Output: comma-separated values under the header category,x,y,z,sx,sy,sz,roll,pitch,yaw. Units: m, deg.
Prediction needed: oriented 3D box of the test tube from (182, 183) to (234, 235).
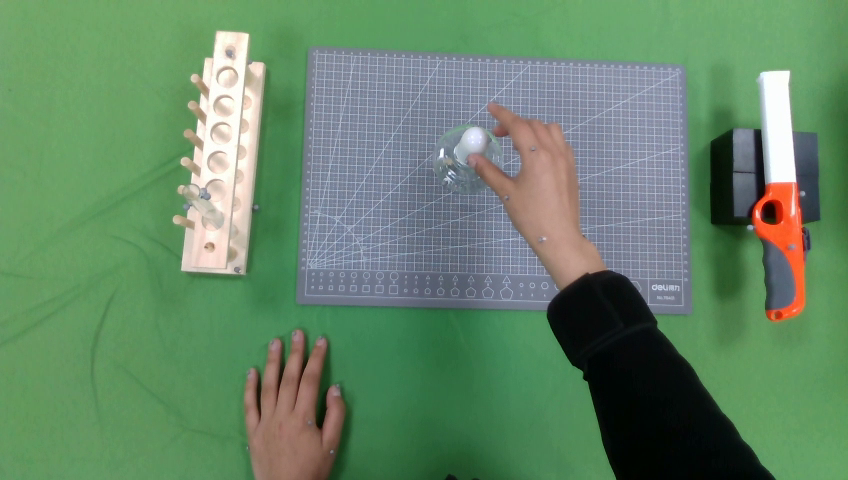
category,x,y,z,sx,sy,sz,roll,pitch,yaw
test tube,-0.207,-0.027,0.589,0.017,0.150,0.017,1,78,-6

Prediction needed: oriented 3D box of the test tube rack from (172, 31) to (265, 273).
category,x,y,z,sx,sy,sz,roll,pitch,yaw
test tube rack,-0.222,-0.090,0.645,0.067,0.085,0.241,4,83,-3

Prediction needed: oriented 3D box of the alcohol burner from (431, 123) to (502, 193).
category,x,y,z,sx,sy,sz,roll,pitch,yaw
alcohol burner,0.047,-0.091,0.645,0.078,0.119,0.077,0,84,-2

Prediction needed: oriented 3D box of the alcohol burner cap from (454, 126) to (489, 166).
category,x,y,z,sx,sy,sz,roll,pitch,yaw
alcohol burner cap,0.049,-0.097,0.610,0.034,0.048,0.033,1,77,-6

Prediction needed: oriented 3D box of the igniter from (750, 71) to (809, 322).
category,x,y,z,sx,sy,sz,roll,pitch,yaw
igniter,0.385,-0.049,0.661,0.057,0.025,0.275,0,82,8
